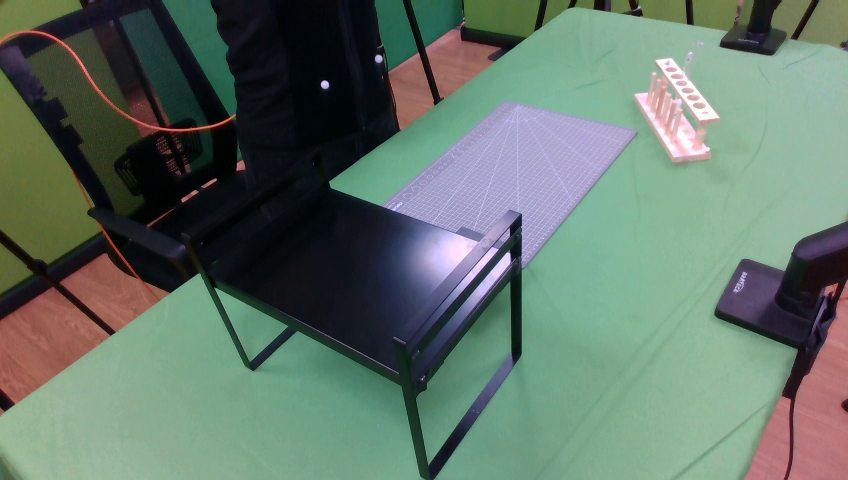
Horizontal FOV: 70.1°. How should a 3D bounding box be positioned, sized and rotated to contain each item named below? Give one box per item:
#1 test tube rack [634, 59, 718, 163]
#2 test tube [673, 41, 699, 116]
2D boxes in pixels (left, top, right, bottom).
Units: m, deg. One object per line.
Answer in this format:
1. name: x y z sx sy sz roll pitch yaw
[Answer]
1. test tube rack: 0.470 -0.250 1.148 0.067 0.085 0.241 -6 40 3
2. test tube: 0.484 -0.297 1.124 0.017 0.151 0.017 -1 44 2
